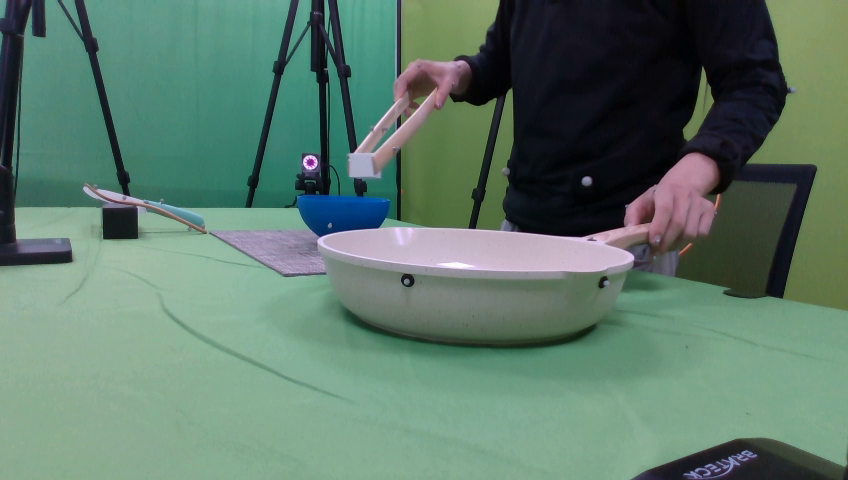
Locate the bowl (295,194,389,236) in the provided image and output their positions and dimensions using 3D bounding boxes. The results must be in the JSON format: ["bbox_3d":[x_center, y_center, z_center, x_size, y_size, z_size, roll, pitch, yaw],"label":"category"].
[{"bbox_3d":[-0.132,-0.032,0.980,0.151,0.077,0.151,2,7,0],"label":"bowl"}]

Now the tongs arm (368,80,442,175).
[{"bbox_3d":[-0.021,-0.188,0.942,0.028,0.028,0.388,-5,28,19],"label":"tongs arm"}]

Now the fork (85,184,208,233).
[{"bbox_3d":[-0.462,-0.051,1.020,0.208,0.018,0.028,22,-8,-37],"label":"fork"}]

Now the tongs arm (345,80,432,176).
[{"bbox_3d":[-0.044,-0.187,0.948,0.050,0.026,0.385,-3,28,14],"label":"tongs arm"}]

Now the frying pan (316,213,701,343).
[{"bbox_3d":[0.133,0.013,0.629,0.490,0.102,0.305,-11,14,-30],"label":"frying pan"}]

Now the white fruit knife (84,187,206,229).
[{"bbox_3d":[-0.488,-0.059,1.071,0.208,0.027,0.016,17,4,-33],"label":"white fruit knife"}]
